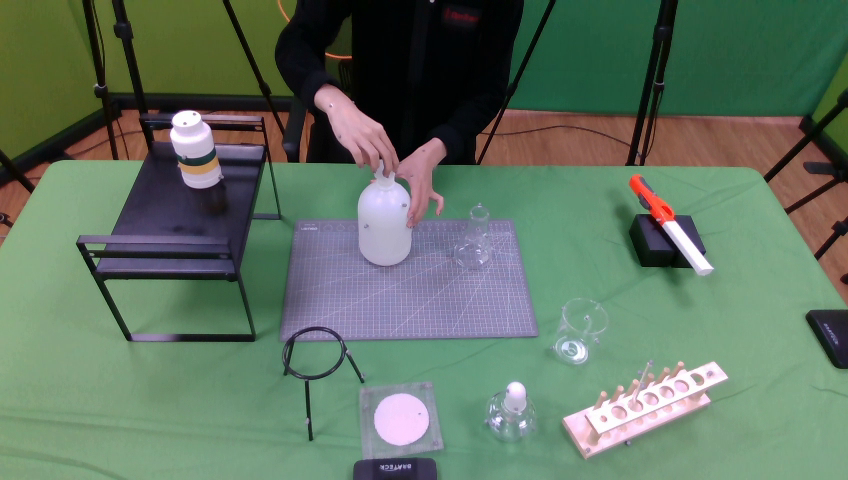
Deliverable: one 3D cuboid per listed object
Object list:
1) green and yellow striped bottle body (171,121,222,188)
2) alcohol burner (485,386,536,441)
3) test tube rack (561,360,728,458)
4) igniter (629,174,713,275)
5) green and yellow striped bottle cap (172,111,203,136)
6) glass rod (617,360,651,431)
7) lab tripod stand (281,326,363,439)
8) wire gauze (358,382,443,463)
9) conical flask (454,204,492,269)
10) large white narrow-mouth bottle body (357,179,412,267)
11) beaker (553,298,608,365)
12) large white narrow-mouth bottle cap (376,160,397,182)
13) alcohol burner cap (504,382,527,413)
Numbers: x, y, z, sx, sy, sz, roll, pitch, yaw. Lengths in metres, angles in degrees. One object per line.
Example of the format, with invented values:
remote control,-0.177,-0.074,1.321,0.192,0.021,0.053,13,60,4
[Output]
green and yellow striped bottle body,-0.375,-0.149,0.995,0.063,0.120,0.063,2,46,-2
alcohol burner,0.131,0.249,0.904,0.078,0.120,0.077,1,48,-1
test tube rack,0.341,0.248,0.940,0.243,0.085,0.066,-16,49,-18
igniter,0.481,-0.040,1.202,0.057,0.025,0.274,-2,46,-21
green and yellow striped bottle cap,-0.374,-0.185,0.957,0.045,0.020,0.045,4,45,-3
glass rod,0.298,0.226,0.865,0.008,0.201,0.008,-1,48,2
lab tripod stand,-0.166,0.203,0.913,0.148,0.132,0.147,1,47,-1
wire gauze,-0.039,0.277,0.937,0.121,0.011,0.124,-4,47,-7
conical flask,0.097,-0.009,1.140,0.075,0.122,0.075,2,46,-2
large white narrow-mouth bottle body,-0.073,-0.047,1.115,0.102,0.195,0.101,3,46,-3
beaker,0.260,0.154,1.015,0.073,0.101,0.084,37,54,27
large white narrow-mouth bottle cap,-0.063,-0.119,1.038,0.038,0.024,0.037,4,46,-4
alcohol burner cap,0.133,0.225,0.877,0.034,0.048,0.033,-4,46,5
